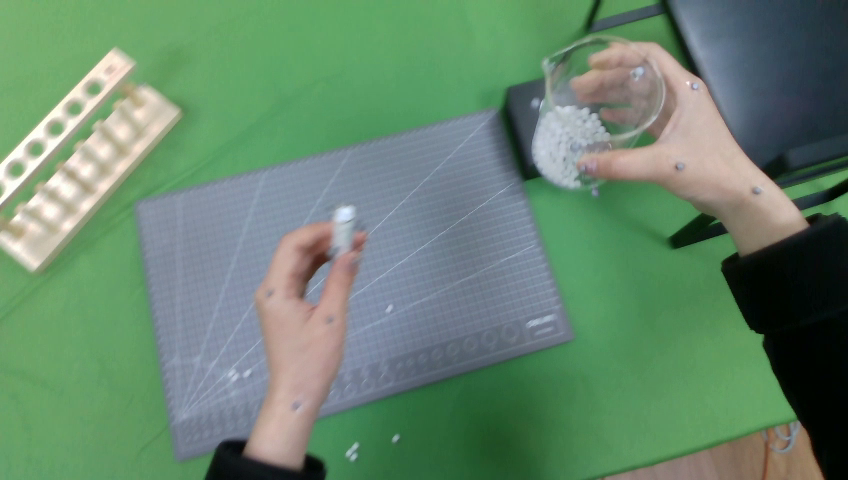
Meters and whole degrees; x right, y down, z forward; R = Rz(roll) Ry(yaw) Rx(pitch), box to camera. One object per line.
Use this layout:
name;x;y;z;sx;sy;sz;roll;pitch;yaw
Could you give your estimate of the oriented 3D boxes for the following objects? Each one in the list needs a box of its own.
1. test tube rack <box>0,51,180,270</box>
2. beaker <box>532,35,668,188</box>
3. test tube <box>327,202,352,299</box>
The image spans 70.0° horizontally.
test tube rack;-0.399;-0.089;0.688;0.066;0.085;0.242;35;77;9
beaker;0.116;-0.086;0.433;0.083;0.101;0.074;33;77;11
test tube;-0.064;0.013;0.449;0.017;0.151;0.017;4;64;-8
